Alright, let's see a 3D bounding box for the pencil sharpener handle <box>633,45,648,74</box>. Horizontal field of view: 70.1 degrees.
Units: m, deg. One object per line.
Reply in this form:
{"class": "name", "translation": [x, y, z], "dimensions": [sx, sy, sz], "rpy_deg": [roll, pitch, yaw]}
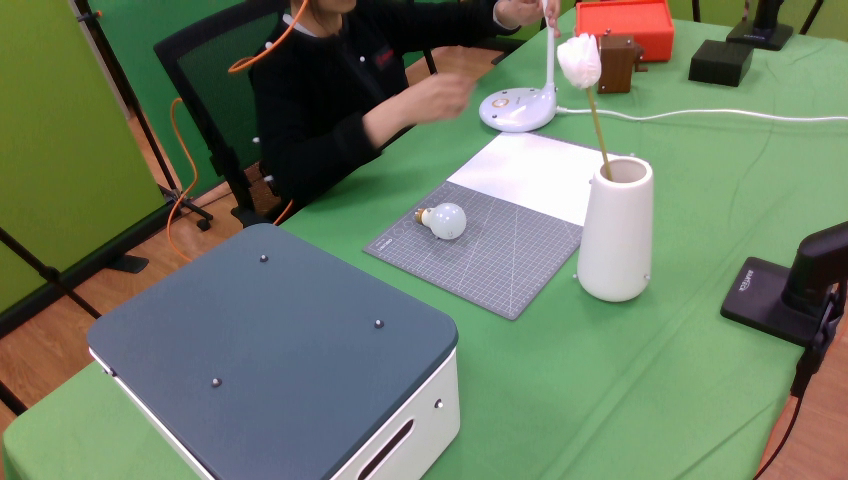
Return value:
{"class": "pencil sharpener handle", "translation": [0.454, -0.378, 1.262], "dimensions": [0.030, 0.068, 0.036], "rpy_deg": [1, 47, 13]}

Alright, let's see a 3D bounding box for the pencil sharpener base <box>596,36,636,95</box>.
{"class": "pencil sharpener base", "translation": [0.406, -0.369, 1.280], "dimensions": [0.076, 0.107, 0.061], "rpy_deg": [1, 41, 13]}

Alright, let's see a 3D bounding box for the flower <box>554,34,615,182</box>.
{"class": "flower", "translation": [0.237, -0.083, 0.774], "dimensions": [0.044, 0.363, 0.038], "rpy_deg": [-22, 26, 6]}

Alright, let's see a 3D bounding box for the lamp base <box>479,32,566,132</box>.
{"class": "lamp base", "translation": [0.202, -0.331, 1.215], "dimensions": [0.179, 0.181, 0.160], "rpy_deg": [1, 42, 6]}

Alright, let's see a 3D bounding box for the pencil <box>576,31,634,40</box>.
{"class": "pencil", "translation": [0.431, -0.488, 1.443], "dimensions": [0.012, 0.012, 0.192], "rpy_deg": [-25, 30, -18]}

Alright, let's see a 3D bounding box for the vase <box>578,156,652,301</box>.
{"class": "vase", "translation": [0.261, -0.011, 0.812], "dimensions": [0.098, 0.201, 0.097], "rpy_deg": [-4, 40, 4]}

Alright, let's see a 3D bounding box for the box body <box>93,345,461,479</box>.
{"class": "box body", "translation": [-0.162, 0.170, 0.708], "dimensions": [0.361, 0.161, 0.255], "rpy_deg": [25, 50, 34]}

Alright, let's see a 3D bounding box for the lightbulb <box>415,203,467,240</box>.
{"class": "lightbulb", "translation": [0.024, -0.034, 0.999], "dimensions": [0.060, 0.060, 0.107], "rpy_deg": [-38, 32, -30]}

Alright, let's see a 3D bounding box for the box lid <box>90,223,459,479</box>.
{"class": "box lid", "translation": [-0.174, 0.102, 0.666], "dimensions": [0.368, 0.015, 0.264], "rpy_deg": [24, 48, 35]}

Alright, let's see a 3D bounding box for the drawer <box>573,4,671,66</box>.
{"class": "drawer", "translation": [0.461, -0.490, 1.435], "dimensions": [0.211, 0.073, 0.194], "rpy_deg": [2, 41, 12]}

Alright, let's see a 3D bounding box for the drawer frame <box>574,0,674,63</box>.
{"class": "drawer frame", "translation": [0.464, -0.492, 1.434], "dimensions": [0.213, 0.083, 0.201], "rpy_deg": [1, 40, 12]}
